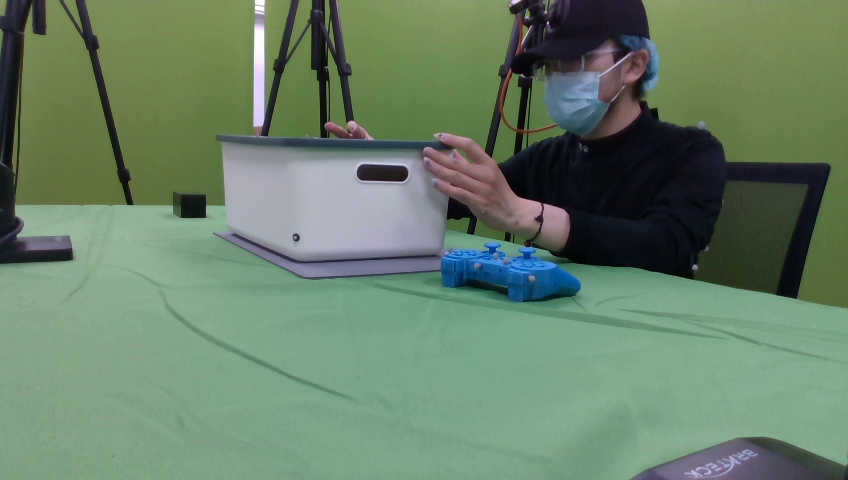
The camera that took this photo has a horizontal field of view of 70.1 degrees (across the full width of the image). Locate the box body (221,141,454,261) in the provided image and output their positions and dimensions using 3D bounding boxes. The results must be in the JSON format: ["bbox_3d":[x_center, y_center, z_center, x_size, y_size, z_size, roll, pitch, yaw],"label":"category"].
[{"bbox_3d":[-0.152,-0.074,0.963,0.255,0.160,0.362,-3,9,-33],"label":"box body"}]

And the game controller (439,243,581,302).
[{"bbox_3d":[0.090,0.033,0.686,0.154,0.051,0.097,8,13,42],"label":"game controller"}]

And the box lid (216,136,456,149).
[{"bbox_3d":[-0.150,-0.152,0.942,0.265,0.015,0.369,-5,11,-33],"label":"box lid"}]
